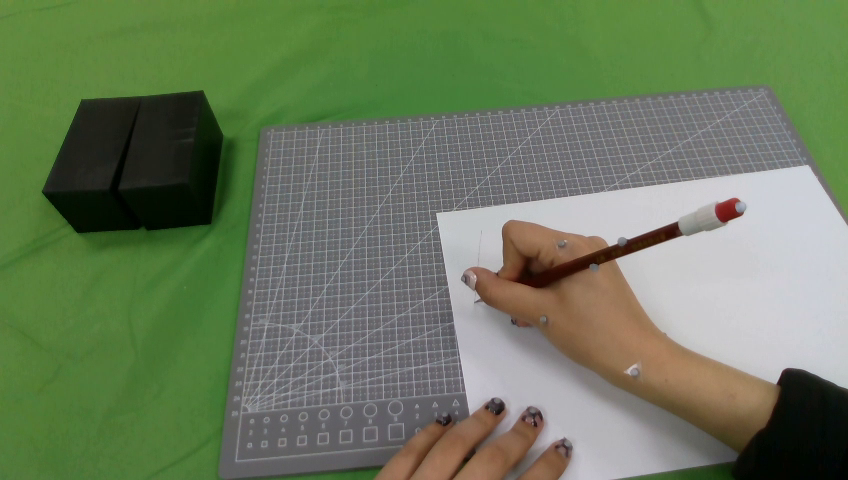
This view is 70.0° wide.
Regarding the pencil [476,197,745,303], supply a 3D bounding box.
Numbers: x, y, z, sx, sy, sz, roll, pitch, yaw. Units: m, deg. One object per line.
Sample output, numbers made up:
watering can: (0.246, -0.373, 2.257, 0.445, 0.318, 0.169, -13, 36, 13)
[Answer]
pencil: (0.089, 0.014, 0.346, 0.012, 0.194, 0.012, 13, 65, -31)
